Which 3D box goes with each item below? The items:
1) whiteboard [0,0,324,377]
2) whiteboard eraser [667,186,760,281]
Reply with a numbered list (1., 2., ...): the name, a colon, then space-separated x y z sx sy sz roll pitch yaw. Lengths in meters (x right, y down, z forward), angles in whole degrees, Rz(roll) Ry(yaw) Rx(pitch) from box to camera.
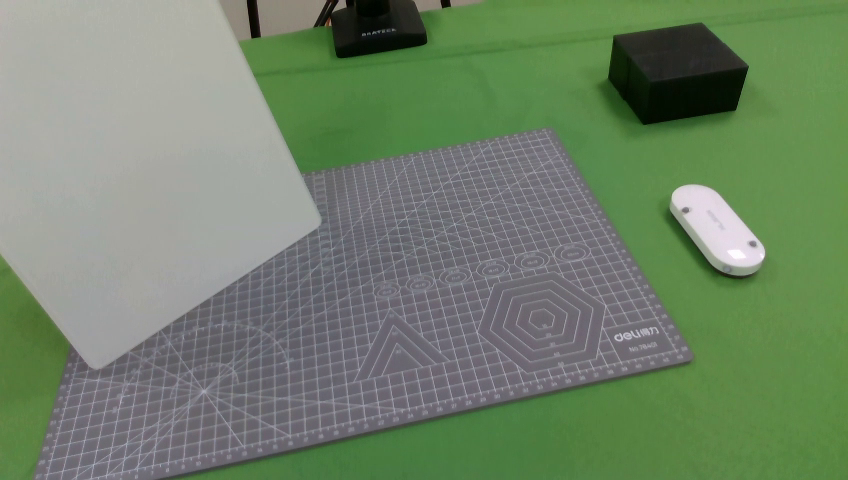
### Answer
1. whiteboard: -0.256 -0.094 0.477 0.217 0.308 0.142 -36 32 -26
2. whiteboard eraser: 0.236 -0.008 0.498 0.041 0.019 0.100 -10 45 -5
